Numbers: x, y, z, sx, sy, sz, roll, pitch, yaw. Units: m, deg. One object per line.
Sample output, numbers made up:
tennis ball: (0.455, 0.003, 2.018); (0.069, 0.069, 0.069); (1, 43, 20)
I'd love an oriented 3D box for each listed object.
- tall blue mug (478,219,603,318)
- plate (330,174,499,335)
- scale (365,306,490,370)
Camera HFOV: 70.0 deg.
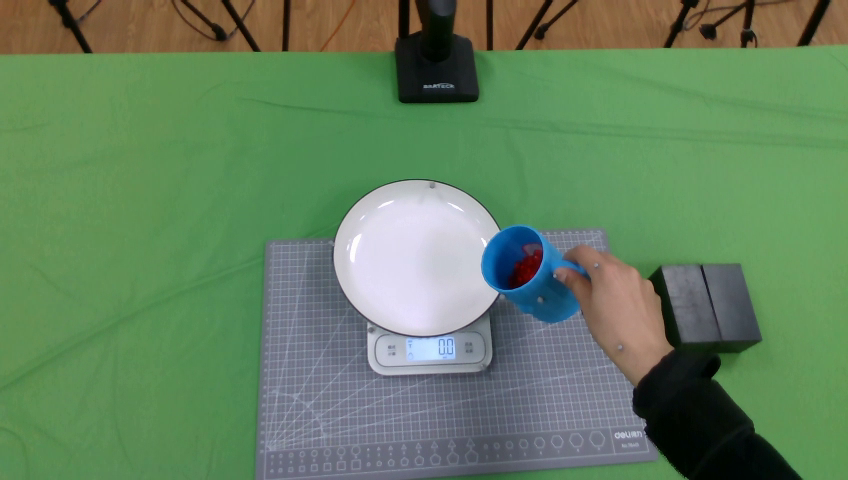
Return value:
tall blue mug: (0.132, 0.028, 0.658); (0.107, 0.109, 0.077); (-25, 53, 25)
plate: (-0.006, 0.018, 0.727); (0.209, 0.038, 0.207); (2, 64, -5)
scale: (0.002, 0.058, 0.746); (0.149, 0.032, 0.199); (-1, 65, -5)
